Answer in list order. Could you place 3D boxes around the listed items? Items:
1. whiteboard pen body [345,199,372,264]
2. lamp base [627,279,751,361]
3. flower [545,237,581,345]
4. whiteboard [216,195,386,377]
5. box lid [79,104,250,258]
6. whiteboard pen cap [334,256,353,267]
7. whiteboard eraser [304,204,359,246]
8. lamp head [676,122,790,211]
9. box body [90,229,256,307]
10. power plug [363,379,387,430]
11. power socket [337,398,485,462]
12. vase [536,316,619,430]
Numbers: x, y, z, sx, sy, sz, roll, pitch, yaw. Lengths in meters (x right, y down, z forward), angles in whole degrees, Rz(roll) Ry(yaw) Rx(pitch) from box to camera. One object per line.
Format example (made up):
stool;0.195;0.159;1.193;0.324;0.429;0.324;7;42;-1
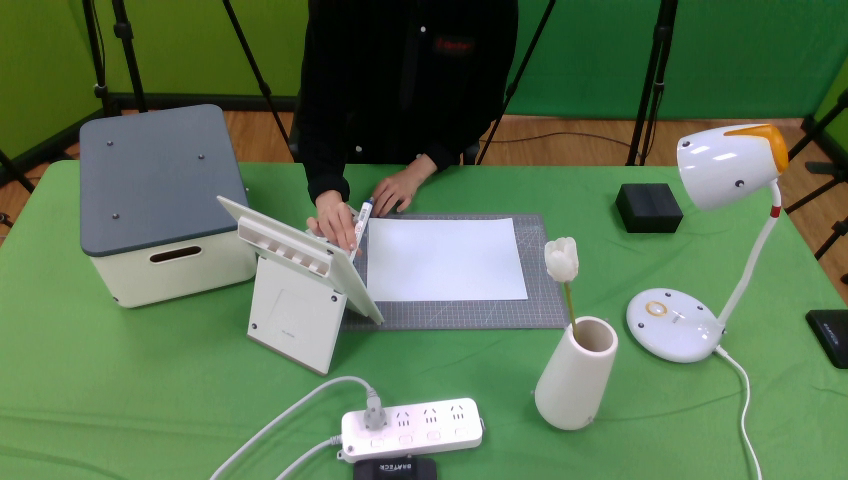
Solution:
whiteboard pen body;-0.111;-0.001;0.972;0.017;0.017;0.140;15;73;9
lamp base;0.460;0.100;1.027;0.178;0.181;0.160;27;51;17
flower;0.213;0.137;0.846;0.038;0.364;0.044;21;55;40
whiteboard;-0.212;0.093;0.939;0.216;0.307;0.143;24;70;17
box lid;-0.467;-0.121;1.075;0.264;0.015;0.369;-13;49;-17
whiteboard pen cap;-0.152;0.041;1.146;0.033;0.018;0.018;12;47;11
whiteboard eraser;-0.175;-0.022;1.188;0.055;0.042;0.112;36;53;26
lamp head;0.423;-0.104;0.819;0.122;0.113;0.112;-13;33;40
box body;-0.471;-0.070;1.131;0.254;0.161;0.361;-14;49;-17
power plug;-0.071;0.252;0.911;0.035;0.053;0.072;3;40;0
power socket;-0.018;0.285;0.914;0.227;0.033;0.071;-4;46;-8
vase;0.229;0.200;0.901;0.098;0.201;0.097;3;46;-3
